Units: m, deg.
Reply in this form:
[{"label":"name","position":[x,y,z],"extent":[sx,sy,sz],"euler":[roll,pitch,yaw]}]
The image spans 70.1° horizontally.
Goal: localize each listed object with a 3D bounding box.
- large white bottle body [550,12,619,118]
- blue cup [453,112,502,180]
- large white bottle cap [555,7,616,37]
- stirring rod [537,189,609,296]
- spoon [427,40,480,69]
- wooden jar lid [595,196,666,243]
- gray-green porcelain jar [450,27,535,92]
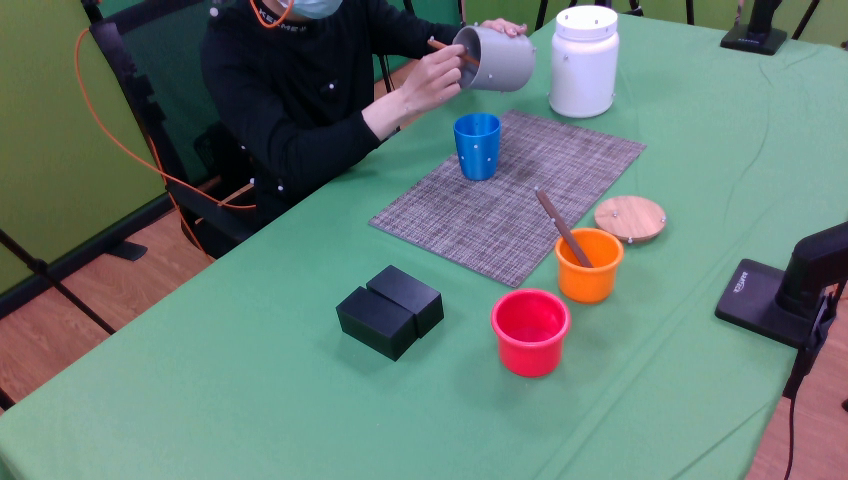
[{"label":"large white bottle body","position":[0.321,-0.356,1.218],"extent":[0.130,0.185,0.130],"euler":[-4,41,4]},{"label":"blue cup","position":[0.097,-0.166,1.088],"extent":[0.092,0.100,0.092],"euler":[-3,40,3]},{"label":"large white bottle cap","position":[0.311,-0.420,1.163],"extent":[0.115,0.018,0.114],"euler":[-4,40,4]},{"label":"stirring rod","position":[0.210,0.003,0.855],"extent":[0.014,0.006,0.176],"euler":[-32,88,-30]},{"label":"spoon","position":[0.090,-0.312,1.082],"extent":[0.041,0.195,0.021],"euler":[-3,65,65]},{"label":"wooden jar lid","position":[0.329,-0.032,0.967],"extent":[0.108,0.021,0.108],"euler":[-4,41,4]},{"label":"gray-green porcelain jar","position":[0.128,-0.324,1.094],"extent":[0.127,0.106,0.105],"euler":[-5,36,-29]}]
